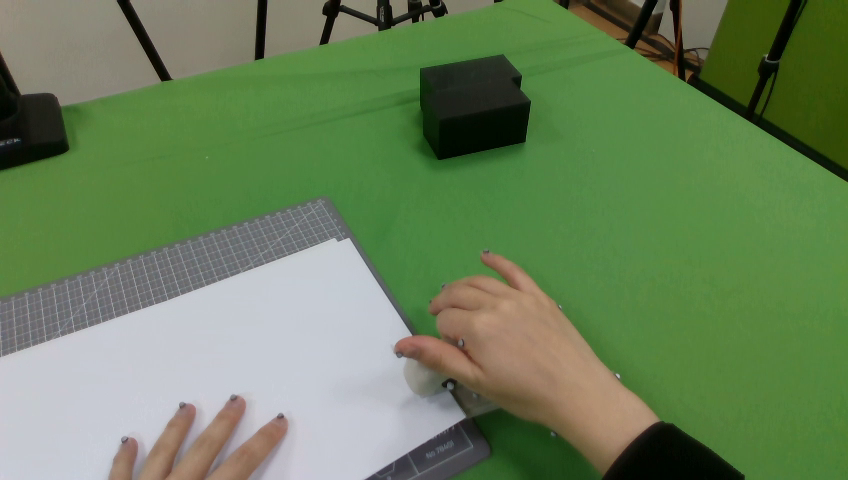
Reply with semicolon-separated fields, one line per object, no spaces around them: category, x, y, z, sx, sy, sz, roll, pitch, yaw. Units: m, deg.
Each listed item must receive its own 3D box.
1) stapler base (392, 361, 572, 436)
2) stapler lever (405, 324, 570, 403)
stapler base;0.042;0.097;0.424;0.131;0.024;0.041;-13;49;-19
stapler lever;0.044;0.079;0.408;0.118;0.040;0.026;-14;49;-18
